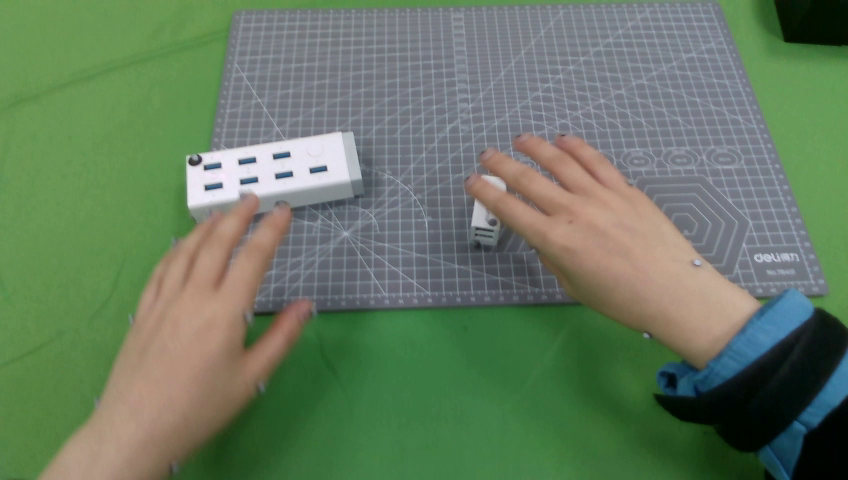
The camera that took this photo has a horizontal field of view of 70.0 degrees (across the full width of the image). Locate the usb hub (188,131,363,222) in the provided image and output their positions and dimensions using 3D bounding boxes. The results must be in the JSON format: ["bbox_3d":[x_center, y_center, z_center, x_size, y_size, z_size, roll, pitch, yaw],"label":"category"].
[{"bbox_3d":[-0.111,-0.049,0.456,0.125,0.025,0.049,-10,61,-6],"label":"usb hub"}]

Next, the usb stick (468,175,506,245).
[{"bbox_3d":[0.047,-0.027,0.444,0.021,0.027,0.058,9,58,6],"label":"usb stick"}]
